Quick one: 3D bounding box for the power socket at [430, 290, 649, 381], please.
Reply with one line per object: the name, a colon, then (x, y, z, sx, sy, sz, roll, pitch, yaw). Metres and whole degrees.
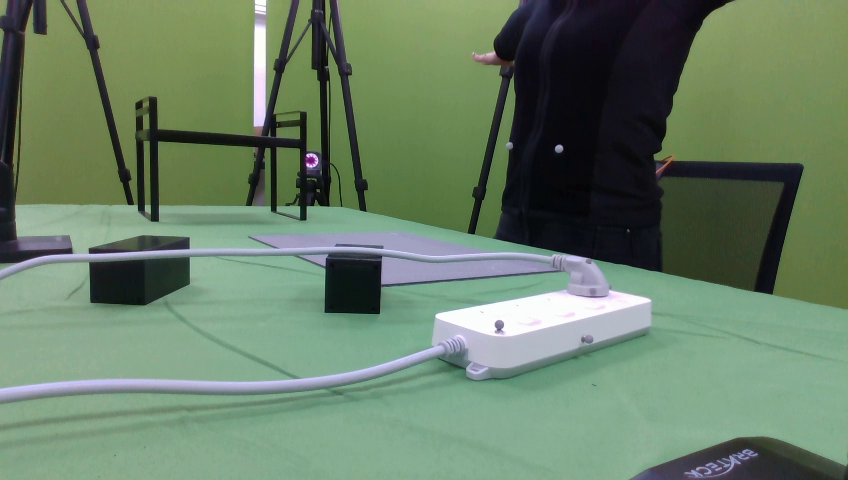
power socket: (0.100, 0.067, 0.480, 0.228, 0.032, 0.072, -5, 10, -42)

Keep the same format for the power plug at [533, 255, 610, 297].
power plug: (0.135, 0.041, 0.549, 0.035, 0.052, 0.072, -3, 6, -32)
